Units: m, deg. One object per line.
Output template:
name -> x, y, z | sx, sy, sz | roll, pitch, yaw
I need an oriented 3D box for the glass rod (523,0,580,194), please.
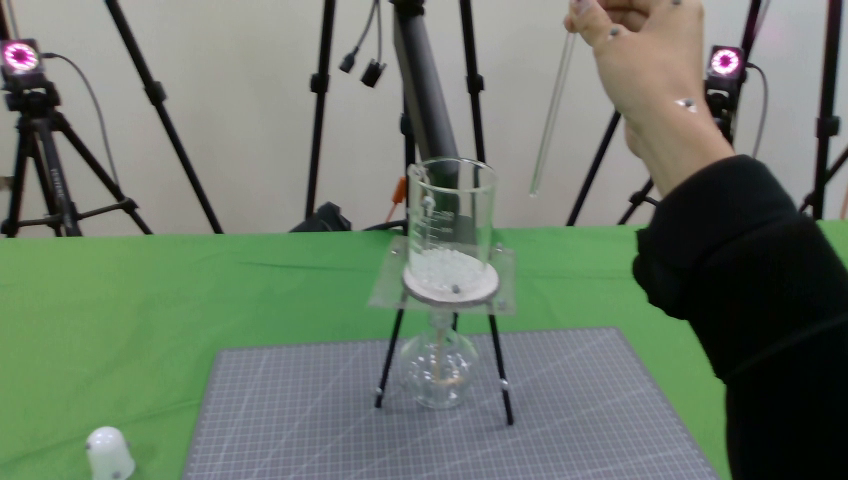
glass rod -> 0.090, -0.123, 0.400 | 0.008, 0.201, 0.008 | 8, 27, -4

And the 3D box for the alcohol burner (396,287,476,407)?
alcohol burner -> 0.012, 0.098, 0.574 | 0.078, 0.120, 0.077 | 1, 27, 0

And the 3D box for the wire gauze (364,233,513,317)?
wire gauze -> 0.019, 0.030, 0.540 | 0.121, 0.011, 0.124 | 5, 31, 6

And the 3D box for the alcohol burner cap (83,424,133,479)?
alcohol burner cap -> -0.261, 0.174, 0.497 | 0.034, 0.048, 0.033 | 1, 28, 0

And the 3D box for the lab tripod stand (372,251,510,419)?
lab tripod stand -> 0.024, 0.089, 0.571 | 0.148, 0.132, 0.147 | 3, 28, -1

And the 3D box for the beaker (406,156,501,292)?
beaker -> 0.019, -0.013, 0.518 | 0.083, 0.101, 0.074 | 25, 35, 35
